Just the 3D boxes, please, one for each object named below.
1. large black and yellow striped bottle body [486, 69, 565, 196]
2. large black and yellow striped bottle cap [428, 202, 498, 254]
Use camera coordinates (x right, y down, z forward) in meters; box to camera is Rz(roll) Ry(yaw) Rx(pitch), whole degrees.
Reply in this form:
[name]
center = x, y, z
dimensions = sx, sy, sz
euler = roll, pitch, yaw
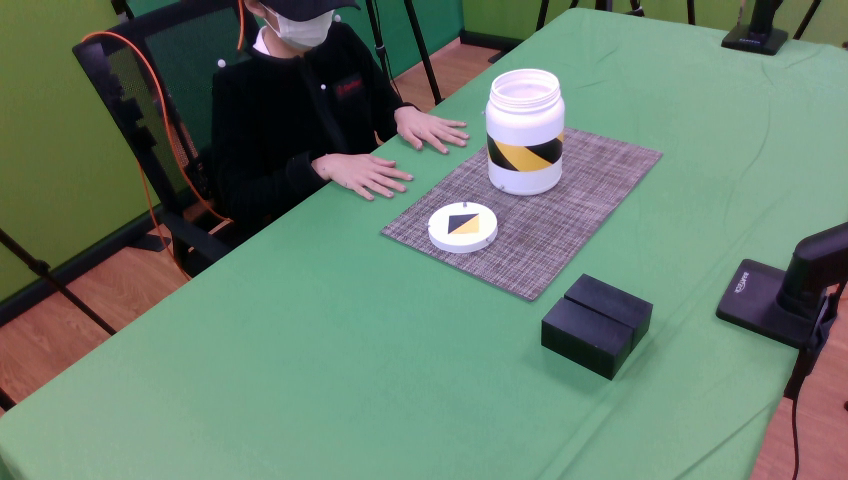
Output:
[large black and yellow striped bottle body]
center = 0.173, -0.183, 1.033
dimensions = 0.131, 0.185, 0.130
euler = -5, 40, 5
[large black and yellow striped bottle cap]
center = 0.064, -0.022, 0.990
dimensions = 0.115, 0.019, 0.114
euler = -4, 42, 4
